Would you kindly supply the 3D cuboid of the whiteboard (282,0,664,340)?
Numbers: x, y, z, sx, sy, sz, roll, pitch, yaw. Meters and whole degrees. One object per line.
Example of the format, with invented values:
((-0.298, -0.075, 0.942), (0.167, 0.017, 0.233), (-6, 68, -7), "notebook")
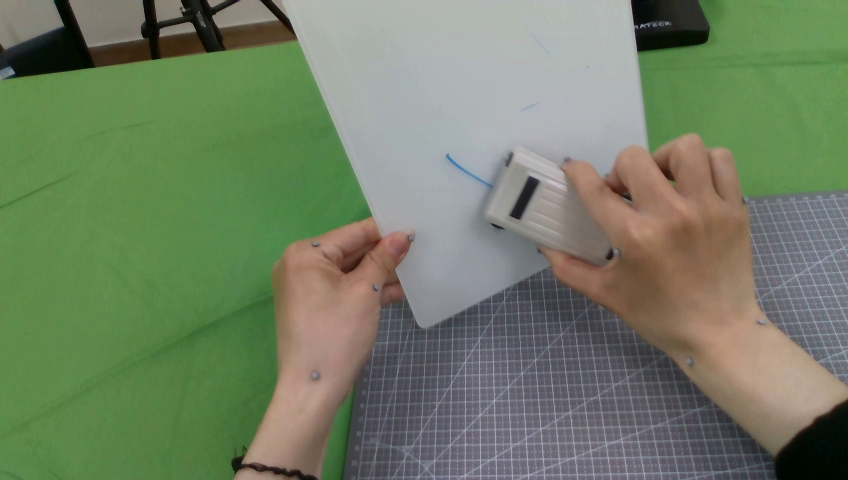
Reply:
((0.028, -0.122, 0.452), (0.217, 0.308, 0.142), (-25, 30, -8), "whiteboard")

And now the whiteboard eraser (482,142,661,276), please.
((0.100, -0.021, 0.420), (0.113, 0.056, 0.041), (23, 24, -3), "whiteboard eraser")
